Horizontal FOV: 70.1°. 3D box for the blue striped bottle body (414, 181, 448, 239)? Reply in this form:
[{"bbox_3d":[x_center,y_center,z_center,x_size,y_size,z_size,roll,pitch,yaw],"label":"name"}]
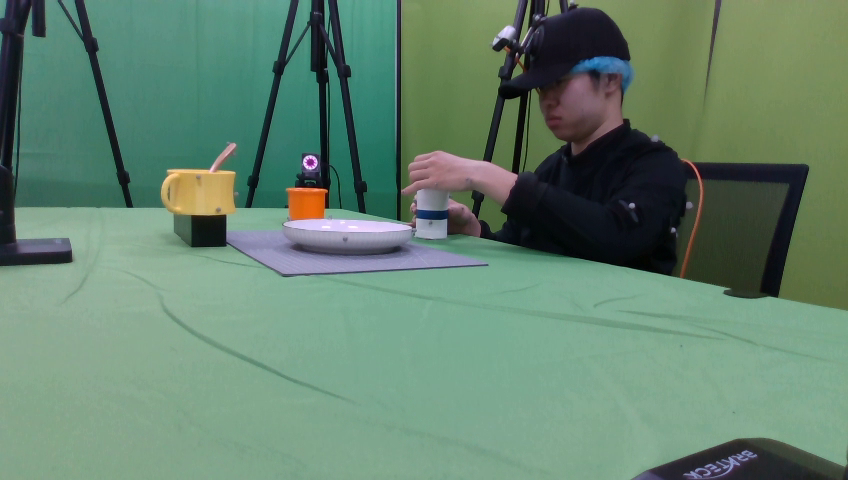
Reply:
[{"bbox_3d":[0.015,-0.065,1.166,0.063,0.120,0.063,2,8,0],"label":"blue striped bottle body"}]

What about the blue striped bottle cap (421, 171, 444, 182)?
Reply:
[{"bbox_3d":[0.016,-0.121,1.158,0.044,0.020,0.044,6,8,0],"label":"blue striped bottle cap"}]

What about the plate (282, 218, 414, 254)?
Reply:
[{"bbox_3d":[-0.121,-0.007,0.971,0.208,0.039,0.207,2,7,0],"label":"plate"}]

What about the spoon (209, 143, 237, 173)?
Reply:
[{"bbox_3d":[-0.341,-0.113,0.990,0.041,0.021,0.193,1,40,7],"label":"spoon"}]

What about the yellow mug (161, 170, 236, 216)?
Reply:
[{"bbox_3d":[-0.354,-0.074,0.935,0.099,0.064,0.131,5,9,21],"label":"yellow mug"}]
